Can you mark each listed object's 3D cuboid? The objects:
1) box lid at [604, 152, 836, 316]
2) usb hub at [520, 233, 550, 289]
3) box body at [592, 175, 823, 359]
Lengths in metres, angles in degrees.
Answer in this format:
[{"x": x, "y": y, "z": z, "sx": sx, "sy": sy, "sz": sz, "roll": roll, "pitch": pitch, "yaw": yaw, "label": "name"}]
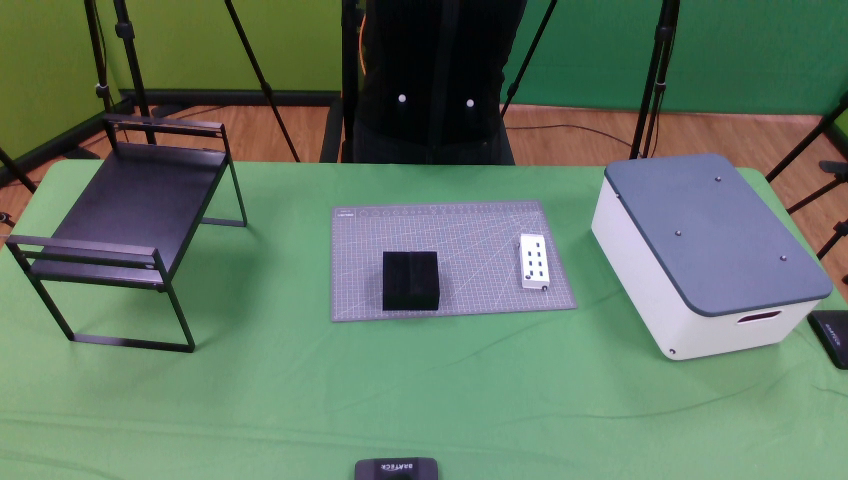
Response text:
[{"x": 0.499, "y": -0.029, "z": 1.059, "sx": 0.264, "sy": 0.015, "sz": 0.369, "roll": -7, "pitch": 47, "yaw": -11, "label": "box lid"}, {"x": 0.212, "y": 0.039, "z": 1.168, "sx": 0.049, "sy": 0.025, "sz": 0.124, "roll": 4, "pitch": 45, "yaw": 1, "label": "usb hub"}, {"x": 0.496, "y": 0.023, "z": 1.112, "sx": 0.254, "sy": 0.161, "sz": 0.361, "roll": -8, "pitch": 47, "yaw": -10, "label": "box body"}]
